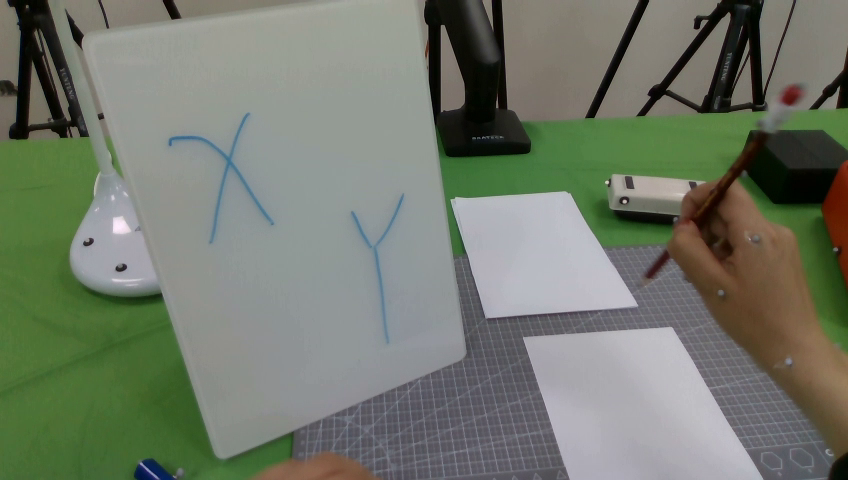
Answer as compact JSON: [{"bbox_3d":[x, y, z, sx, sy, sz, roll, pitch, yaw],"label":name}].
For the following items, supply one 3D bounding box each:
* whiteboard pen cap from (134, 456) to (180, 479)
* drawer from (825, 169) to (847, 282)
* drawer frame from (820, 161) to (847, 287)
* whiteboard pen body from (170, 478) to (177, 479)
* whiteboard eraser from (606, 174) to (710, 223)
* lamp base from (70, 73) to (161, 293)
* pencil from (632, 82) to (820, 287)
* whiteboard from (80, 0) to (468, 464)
[{"bbox_3d":[-0.188,0.168,0.429,0.033,0.018,0.018,22,42,28],"label":"whiteboard pen cap"},{"bbox_3d":[0.532,0.019,0.600,0.194,0.074,0.210,11,38,15],"label":"drawer"},{"bbox_3d":[0.533,0.016,0.603,0.201,0.083,0.212,11,37,13],"label":"drawer frame"},{"bbox_3d":[-0.141,0.189,0.404,0.139,0.017,0.017,23,42,27],"label":"whiteboard pen body"},{"bbox_3d":[0.274,-0.048,0.714,0.112,0.042,0.055,7,39,7],"label":"whiteboard eraser"},{"bbox_3d":[-0.294,-0.065,0.600,0.178,0.182,0.160,22,42,29],"label":"lamp base"},{"bbox_3d":[0.184,-0.023,0.395,0.012,0.195,0.012,9,51,-10],"label":"pencil"},{"bbox_3d":[-0.108,-0.023,0.494,0.218,0.307,0.142,-17,22,-22],"label":"whiteboard"}]
